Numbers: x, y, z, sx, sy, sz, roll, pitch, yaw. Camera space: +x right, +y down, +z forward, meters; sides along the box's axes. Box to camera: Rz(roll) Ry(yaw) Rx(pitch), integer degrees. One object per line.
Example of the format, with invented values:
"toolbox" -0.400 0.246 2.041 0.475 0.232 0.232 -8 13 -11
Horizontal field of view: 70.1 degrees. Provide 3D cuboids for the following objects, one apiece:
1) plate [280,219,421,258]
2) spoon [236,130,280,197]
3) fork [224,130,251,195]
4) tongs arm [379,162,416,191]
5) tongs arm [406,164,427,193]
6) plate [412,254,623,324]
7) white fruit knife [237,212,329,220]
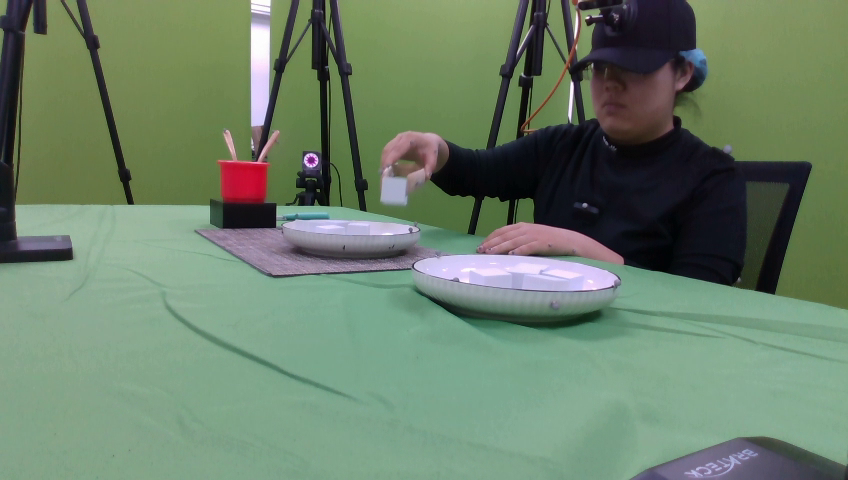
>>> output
"plate" -0.108 -0.002 0.902 0.208 0.039 0.207 3 7 0
"spoon" -0.321 -0.154 1.192 0.041 0.193 0.022 0 -37 19
"fork" -0.372 -0.155 1.193 0.028 0.018 0.206 -17 54 -13
"tongs arm" -0.037 -0.105 0.978 0.051 0.026 0.384 4 9 -2
"tongs arm" -0.013 -0.103 0.978 0.028 0.028 0.387 1 9 3
"plate" 0.091 0.047 0.609 0.209 0.038 0.209 2 7 0
"white fruit knife" -0.304 -0.050 1.328 0.208 0.016 0.027 -3 -19 -29
